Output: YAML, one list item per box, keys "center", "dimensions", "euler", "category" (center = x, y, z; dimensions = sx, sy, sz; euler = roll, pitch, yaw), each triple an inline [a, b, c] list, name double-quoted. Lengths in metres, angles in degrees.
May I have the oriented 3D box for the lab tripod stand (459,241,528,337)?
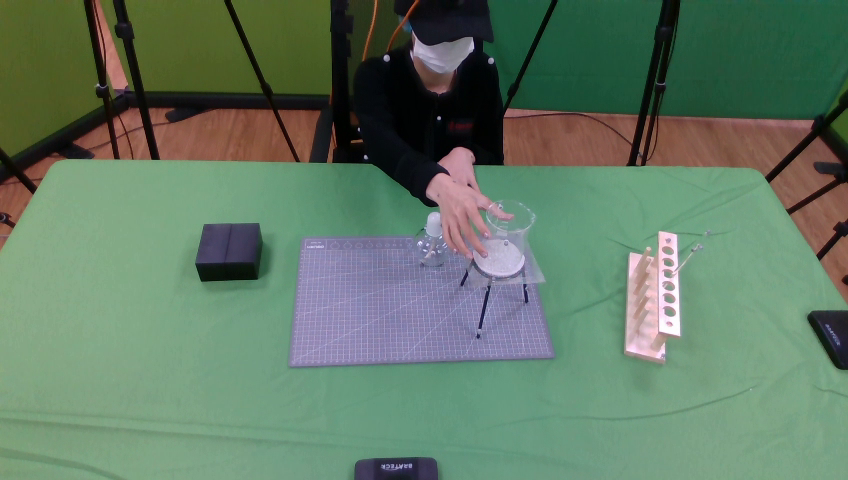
- center: [0.122, 0.075, 1.054]
  dimensions: [0.148, 0.132, 0.147]
  euler: [3, 44, -3]
  category: "lab tripod stand"

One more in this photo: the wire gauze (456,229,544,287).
- center: [0.125, 0.030, 1.008]
  dimensions: [0.125, 0.011, 0.120]
  euler: [-2, 48, -11]
  category: "wire gauze"

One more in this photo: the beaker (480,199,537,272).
- center: [0.132, -0.004, 0.973]
  dimensions: [0.084, 0.101, 0.073]
  euler: [-4, 46, -10]
  category: "beaker"

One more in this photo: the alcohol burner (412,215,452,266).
- center: [0.017, -0.006, 1.139]
  dimensions: [0.078, 0.119, 0.077]
  euler: [3, 48, -3]
  category: "alcohol burner"

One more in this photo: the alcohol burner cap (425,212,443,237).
- center: [0.019, -0.032, 1.114]
  dimensions: [0.034, 0.048, 0.033]
  euler: [1, 49, 0]
  category: "alcohol burner cap"

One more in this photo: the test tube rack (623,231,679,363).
- center: [0.410, 0.094, 1.096]
  dimensions: [0.066, 0.085, 0.241]
  euler: [13, 46, 9]
  category: "test tube rack"

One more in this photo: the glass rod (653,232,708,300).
- center: [0.441, 0.049, 1.050]
  dimensions: [0.008, 0.200, 0.008]
  euler: [4, 52, -5]
  category: "glass rod"
